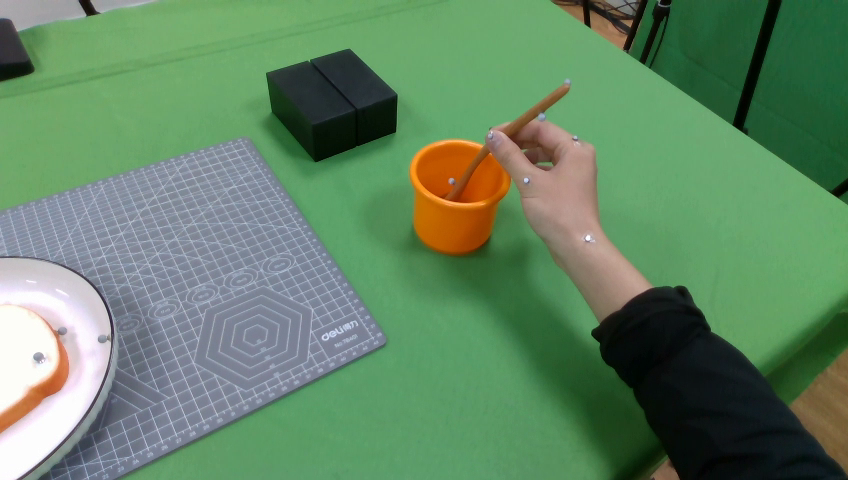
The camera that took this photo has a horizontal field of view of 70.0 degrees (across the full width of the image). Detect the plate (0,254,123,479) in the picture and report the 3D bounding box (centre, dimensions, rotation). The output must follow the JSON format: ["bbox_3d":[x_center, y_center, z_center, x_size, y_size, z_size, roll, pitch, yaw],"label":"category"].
[{"bbox_3d":[-0.322,0.100,0.428,0.209,0.038,0.207,4,49,-4],"label":"plate"}]

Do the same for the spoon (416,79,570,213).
[{"bbox_3d":[0.054,-0.076,0.529,0.021,0.194,0.041,45,42,-2],"label":"spoon"}]

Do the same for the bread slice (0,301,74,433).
[{"bbox_3d":[-0.328,0.099,0.432,0.104,0.019,0.131,37,57,23],"label":"bread slice"}]
